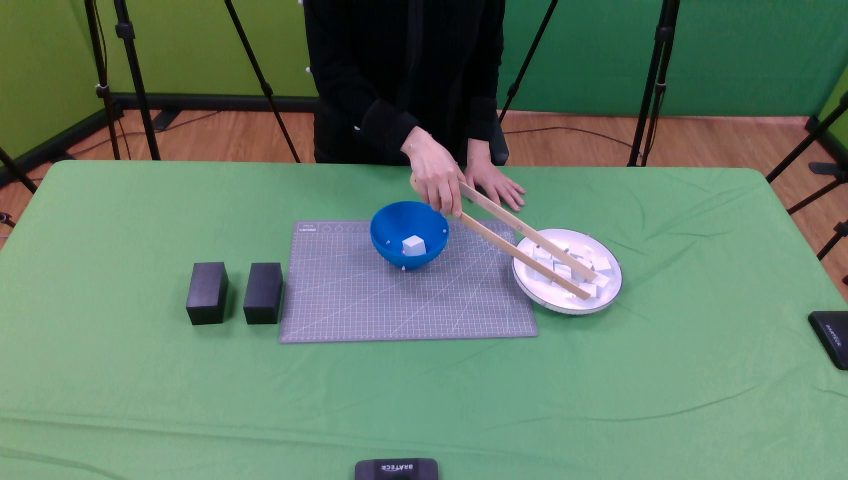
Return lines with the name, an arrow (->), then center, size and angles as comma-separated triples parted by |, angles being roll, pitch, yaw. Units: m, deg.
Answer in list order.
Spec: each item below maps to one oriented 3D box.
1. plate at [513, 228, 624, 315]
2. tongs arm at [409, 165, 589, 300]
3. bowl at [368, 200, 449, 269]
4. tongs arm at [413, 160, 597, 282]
plate -> 0.268, 0.063, 1.146 | 0.208, 0.039, 0.206 | 3, 46, -3
tongs arm -> 0.128, -0.009, 1.079 | 0.387, 0.028, 0.028 | 35, 58, 2
bowl -> -0.030, 0.002, 1.151 | 0.151, 0.077, 0.150 | 2, 46, -2
tongs arm -> 0.143, -0.030, 1.098 | 0.384, 0.026, 0.050 | 36, 55, 3
